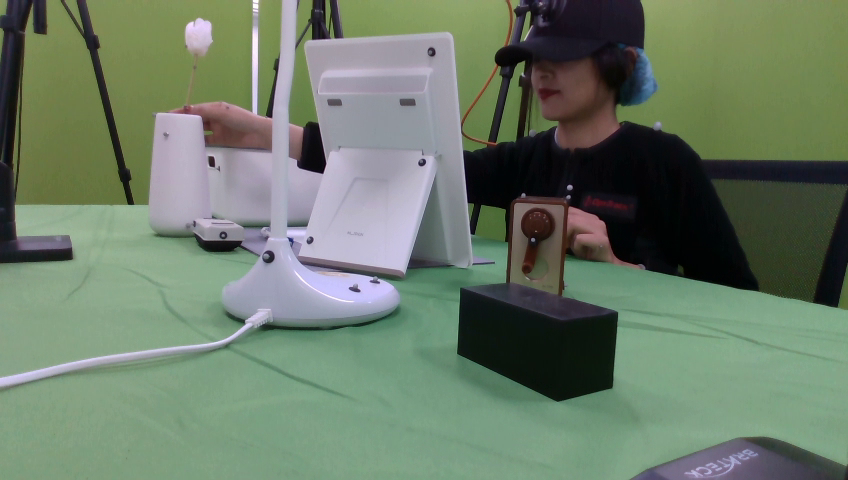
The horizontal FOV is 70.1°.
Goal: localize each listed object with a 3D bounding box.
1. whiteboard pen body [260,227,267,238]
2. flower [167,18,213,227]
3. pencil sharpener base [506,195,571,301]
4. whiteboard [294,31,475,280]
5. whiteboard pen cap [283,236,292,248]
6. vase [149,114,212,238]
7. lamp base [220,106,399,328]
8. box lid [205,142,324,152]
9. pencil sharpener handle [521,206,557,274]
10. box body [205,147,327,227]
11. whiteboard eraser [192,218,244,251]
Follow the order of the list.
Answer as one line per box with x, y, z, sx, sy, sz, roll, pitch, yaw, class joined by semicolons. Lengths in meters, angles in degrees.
-0.239;-0.004;0.964;0.017;0.017;0.140;-2;9;-28;whiteboard pen body
-0.397;-0.197;1.002;0.044;0.361;0.038;1;-12;14;flower
0.126;0.007;0.662;0.061;0.107;0.077;4;8;13;pencil sharpener base
-0.076;-0.084;0.746;0.216;0.305;0.144;7;28;29;whiteboard
-0.211;0.003;0.913;0.018;0.018;0.033;-2;6;-28;whiteboard pen cap
-0.405;-0.106;1.005;0.098;0.200;0.098;2;7;0;vase
-0.102;-0.023;0.531;0.160;0.180;0.179;4;10;10;lamp base
-0.270;-0.196;1.310;0.373;0.015;0.262;-2;9;-30;box lid
0.112;0.001;0.611;0.036;0.067;0.031;13;10;11;pencil sharpener handle
-0.276;-0.122;1.320;0.366;0.160;0.253;-2;9;-30;box body
-0.307;-0.009;0.899;0.056;0.042;0.112;-3;9;-29;whiteboard eraser
